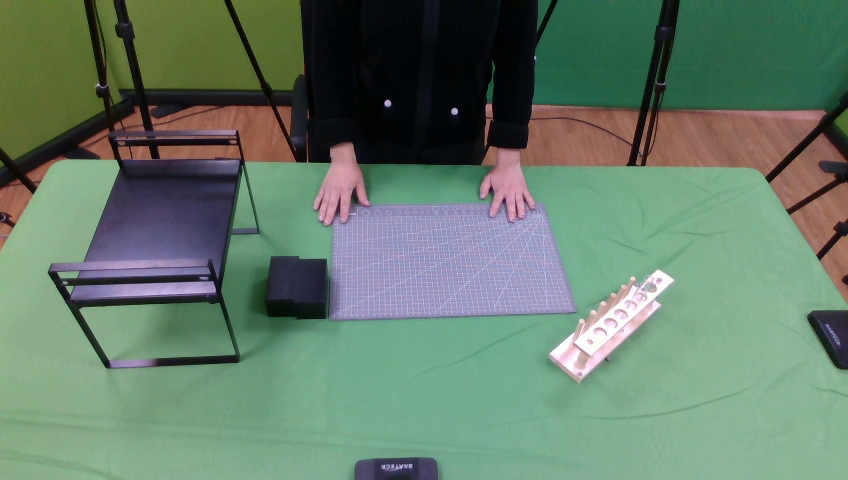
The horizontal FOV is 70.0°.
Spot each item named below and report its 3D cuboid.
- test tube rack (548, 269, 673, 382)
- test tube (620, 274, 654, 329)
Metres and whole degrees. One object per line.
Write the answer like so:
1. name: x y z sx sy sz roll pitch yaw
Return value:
1. test tube rack: 0.325 0.134 1.048 0.242 0.085 0.066 -32 55 -30
2. test tube: 0.349 0.105 1.009 0.017 0.151 0.017 2 51 -3
